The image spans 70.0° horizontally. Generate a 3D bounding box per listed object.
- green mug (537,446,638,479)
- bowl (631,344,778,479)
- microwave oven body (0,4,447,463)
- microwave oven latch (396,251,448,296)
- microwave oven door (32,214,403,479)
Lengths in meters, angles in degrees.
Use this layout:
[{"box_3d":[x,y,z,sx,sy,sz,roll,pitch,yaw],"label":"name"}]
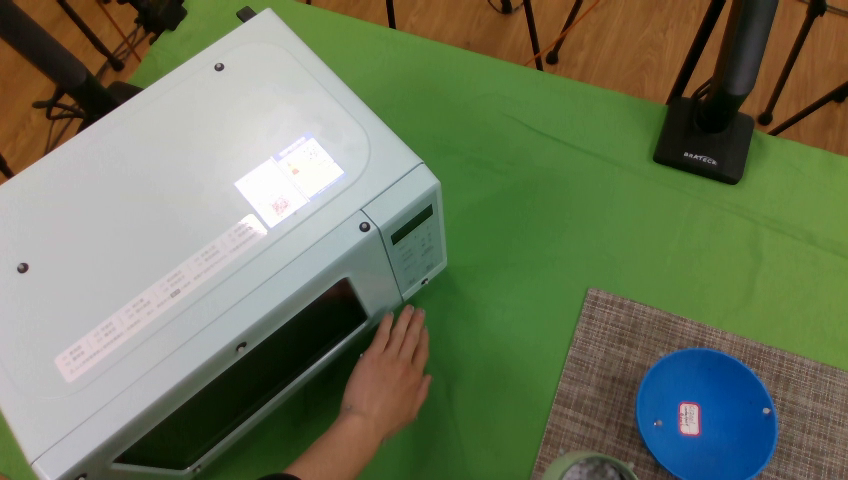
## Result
[{"box_3d":[0.168,0.253,0.571,0.092,0.105,0.124,-44,72,-11],"label":"green mug"},{"box_3d":[0.306,0.200,0.691,0.151,0.077,0.150,-1,67,3],"label":"bowl"},{"box_3d":[-0.243,0.007,0.706,0.441,0.262,0.323,-39,71,-11],"label":"microwave oven body"},{"box_3d":[-0.005,0.037,0.784,0.079,0.030,0.030,-37,71,-11],"label":"microwave oven latch"},{"box_3d":[-0.181,0.132,0.646,0.355,0.245,0.039,-39,70,-12],"label":"microwave oven door"}]
